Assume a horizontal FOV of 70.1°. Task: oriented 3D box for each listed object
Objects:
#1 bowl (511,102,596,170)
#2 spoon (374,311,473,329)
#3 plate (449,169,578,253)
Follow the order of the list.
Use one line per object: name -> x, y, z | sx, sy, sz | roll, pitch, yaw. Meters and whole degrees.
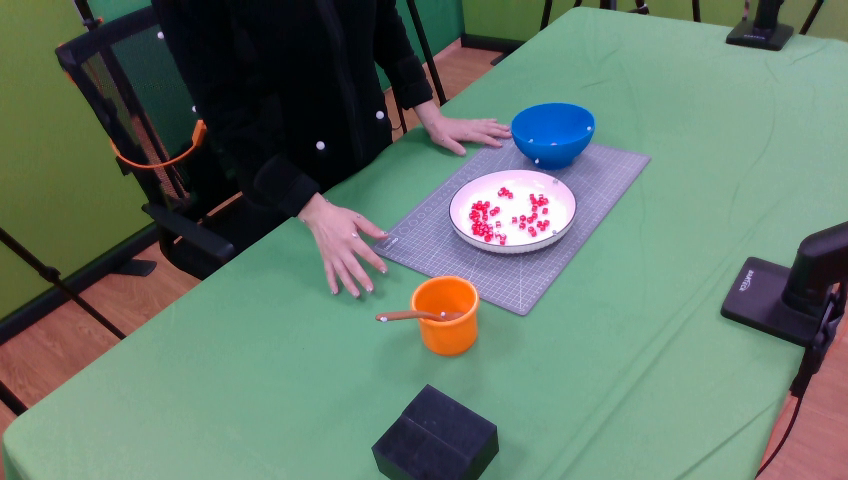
bowl -> 0.237, -0.182, 1.107 | 0.151, 0.077, 0.150 | -6, 40, 5
spoon -> 0.002, 0.099, 0.771 | 0.041, 0.195, 0.021 | 26, 96, 37
plate -> 0.146, -0.044, 0.994 | 0.209, 0.038, 0.208 | -5, 40, 5
